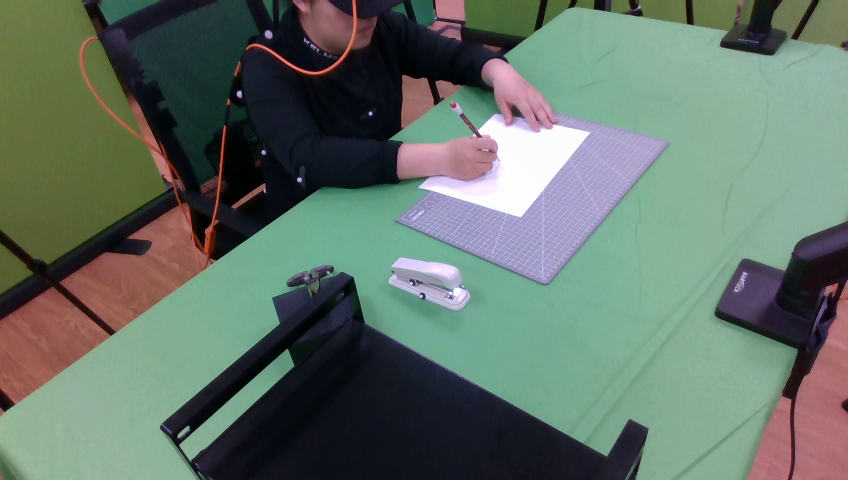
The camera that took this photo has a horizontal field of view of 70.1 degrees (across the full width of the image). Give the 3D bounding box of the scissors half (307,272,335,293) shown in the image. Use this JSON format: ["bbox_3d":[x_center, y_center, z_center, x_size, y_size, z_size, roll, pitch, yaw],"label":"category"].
[{"bbox_3d":[-0.151,0.062,0.872,0.040,0.013,0.175,-2,5,-4],"label":"scissors half"}]

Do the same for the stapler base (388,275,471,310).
[{"bbox_3d":[0.007,0.066,0.897,0.129,0.024,0.041,17,43,29],"label":"stapler base"}]

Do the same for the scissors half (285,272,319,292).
[{"bbox_3d":[-0.171,0.063,0.868,0.040,0.013,0.174,-9,6,-21],"label":"scissors half"}]

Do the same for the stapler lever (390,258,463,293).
[{"bbox_3d":[0.003,0.046,0.881,0.117,0.040,0.027,17,44,29],"label":"stapler lever"}]

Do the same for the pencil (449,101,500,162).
[{"bbox_3d":[0.094,-0.186,1.062,0.012,0.196,0.012,-15,59,27],"label":"pencil"}]
